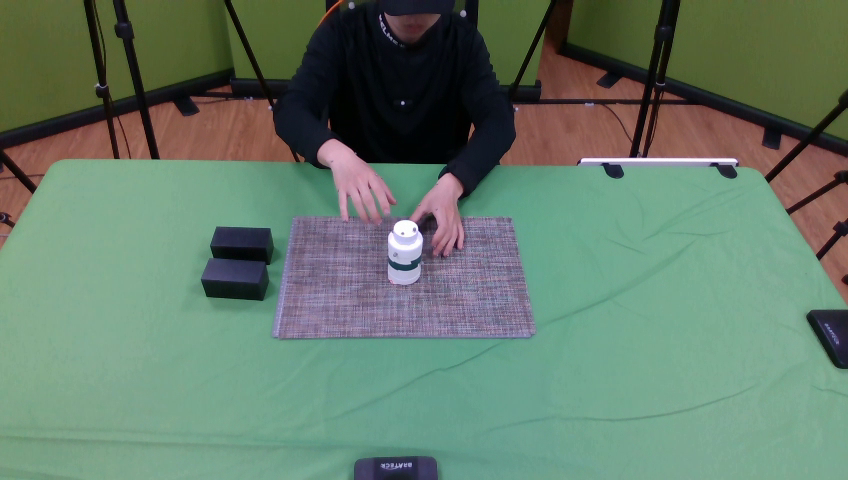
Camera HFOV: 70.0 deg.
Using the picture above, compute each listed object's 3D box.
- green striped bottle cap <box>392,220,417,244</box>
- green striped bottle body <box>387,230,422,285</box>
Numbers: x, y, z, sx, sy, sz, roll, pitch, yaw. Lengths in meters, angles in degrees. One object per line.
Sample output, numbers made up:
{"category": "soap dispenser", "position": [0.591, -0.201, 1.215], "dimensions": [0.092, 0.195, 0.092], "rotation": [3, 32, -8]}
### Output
{"category": "green striped bottle cap", "position": [-0.035, -0.015, 1.065], "dimensions": [0.044, 0.020, 0.044], "rotation": [5, 43, -4]}
{"category": "green striped bottle body", "position": [-0.036, 0.021, 1.102], "dimensions": [0.063, 0.120, 0.063], "rotation": [2, 46, -2]}
